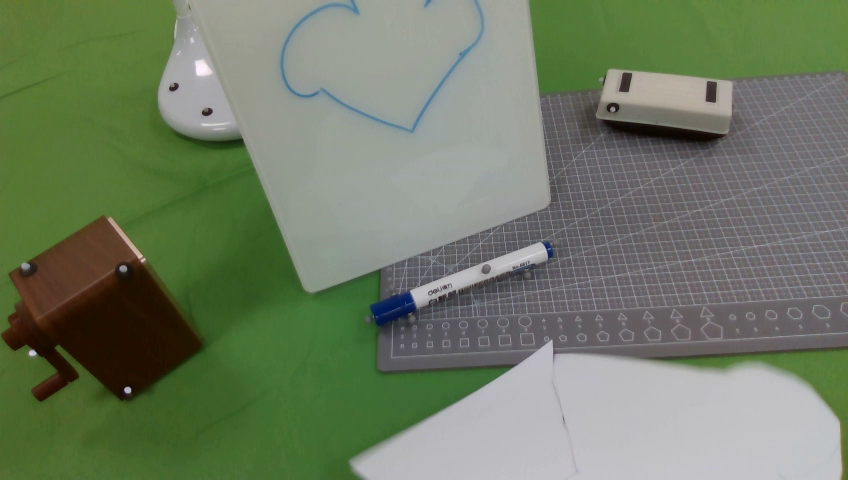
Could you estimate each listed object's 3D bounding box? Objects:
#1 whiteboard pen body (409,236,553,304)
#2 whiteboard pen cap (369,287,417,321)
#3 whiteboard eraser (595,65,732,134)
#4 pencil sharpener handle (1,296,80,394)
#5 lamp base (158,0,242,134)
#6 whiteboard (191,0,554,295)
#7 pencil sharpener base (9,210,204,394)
[{"bbox_3d":[0.032,0.026,0.455,0.141,0.017,0.017,-20,52,-9],"label":"whiteboard pen body"},{"bbox_3d":[-0.022,0.047,0.446,0.033,0.018,0.018,-21,52,-9],"label":"whiteboard pen cap"},{"bbox_3d":[0.216,-0.127,0.548,0.112,0.042,0.055,11,54,15],"label":"whiteboard eraser"},{"bbox_3d":[-0.249,0.069,0.384,0.030,0.068,0.035,-38,44,-22],"label":"pencil sharpener handle"},{"bbox_3d":[-0.214,-0.221,0.582,0.177,0.182,0.160,30,60,30],"label":"lamp base"},{"bbox_3d":[-0.043,-0.151,0.466,0.217,0.308,0.142,-20,32,-9],"label":"whiteboard"},{"bbox_3d":[-0.213,0.046,0.415,0.076,0.108,0.061,-38,57,-22],"label":"pencil sharpener base"}]
